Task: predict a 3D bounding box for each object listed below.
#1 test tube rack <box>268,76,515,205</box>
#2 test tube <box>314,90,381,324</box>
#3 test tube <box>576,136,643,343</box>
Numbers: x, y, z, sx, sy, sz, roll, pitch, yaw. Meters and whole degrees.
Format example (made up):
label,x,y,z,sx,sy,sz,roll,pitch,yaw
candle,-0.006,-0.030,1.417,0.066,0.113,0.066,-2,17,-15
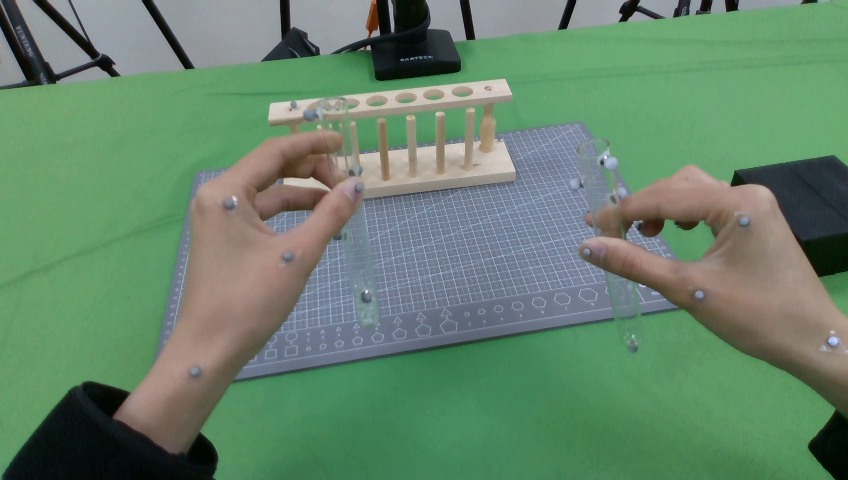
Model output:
label,x,y,z,sx,sy,sz,roll,pitch,yaw
test tube rack,-0.030,-0.103,0.626,0.242,0.086,0.066,-7,42,-4
test tube,-0.042,-0.011,0.347,0.017,0.152,0.017,-4,33,3
test tube,0.104,0.007,0.331,0.017,0.152,0.017,-15,40,13
